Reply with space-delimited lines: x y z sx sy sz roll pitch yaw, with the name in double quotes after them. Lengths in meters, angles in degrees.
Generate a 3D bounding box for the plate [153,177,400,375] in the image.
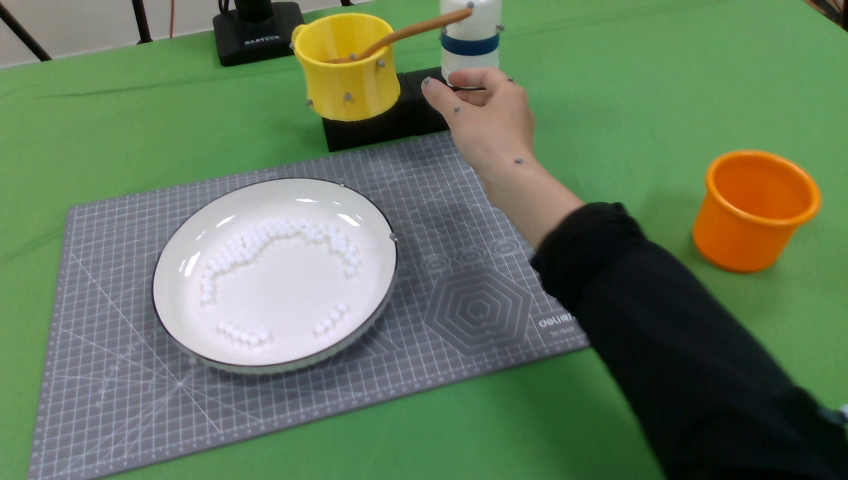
-0.123 0.029 0.530 0.208 0.039 0.205 -1 49 1 "plate"

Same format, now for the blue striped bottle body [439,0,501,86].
0.047 -0.226 0.623 0.063 0.122 0.062 -1 49 2 "blue striped bottle body"

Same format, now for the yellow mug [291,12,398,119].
-0.091 -0.188 0.634 0.130 0.064 0.099 26 55 25 "yellow mug"

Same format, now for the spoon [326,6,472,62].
-0.038 -0.192 0.592 0.193 0.022 0.041 -12 37 37 "spoon"
